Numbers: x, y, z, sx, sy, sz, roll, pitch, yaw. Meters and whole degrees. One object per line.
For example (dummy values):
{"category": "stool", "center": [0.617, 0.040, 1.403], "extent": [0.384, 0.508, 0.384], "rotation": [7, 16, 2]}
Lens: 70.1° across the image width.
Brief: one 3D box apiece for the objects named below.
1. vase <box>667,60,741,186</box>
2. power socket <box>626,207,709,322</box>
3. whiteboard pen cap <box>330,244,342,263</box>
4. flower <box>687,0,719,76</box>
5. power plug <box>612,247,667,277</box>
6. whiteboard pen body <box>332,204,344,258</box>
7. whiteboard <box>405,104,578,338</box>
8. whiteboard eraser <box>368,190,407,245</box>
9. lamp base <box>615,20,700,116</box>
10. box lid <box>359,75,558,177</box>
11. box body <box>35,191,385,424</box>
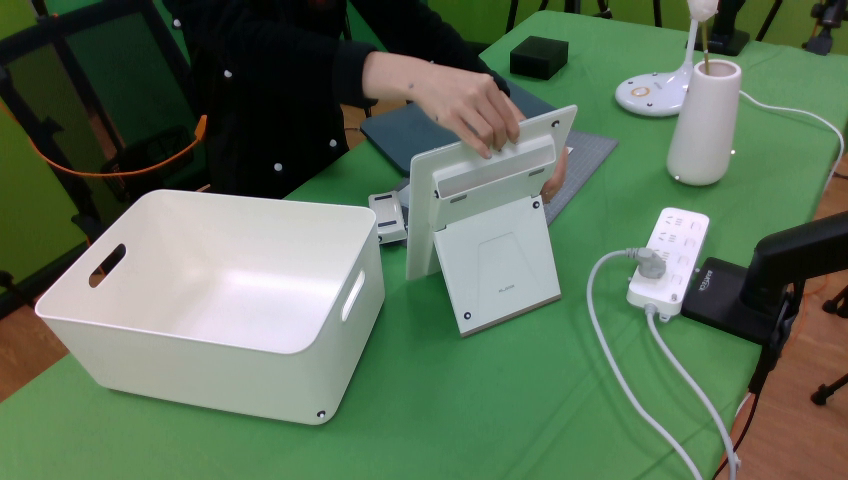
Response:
{"category": "vase", "center": [0.463, -0.189, 0.994], "extent": [0.098, 0.201, 0.097], "rotation": [-4, 40, 3]}
{"category": "power socket", "center": [0.360, 0.026, 0.886], "extent": [0.072, 0.033, 0.227], "rotation": [17, 46, 27]}
{"category": "whiteboard pen cap", "center": [-0.141, 0.021, 0.975], "extent": [0.018, 0.018, 0.033], "rotation": [-7, 39, 0]}
{"category": "flower", "center": [0.436, -0.242, 0.934], "extent": [0.038, 0.364, 0.043], "rotation": [-24, 49, 8]}
{"category": "power plug", "center": [0.306, 0.031, 0.852], "extent": [0.072, 0.053, 0.035], "rotation": [21, 48, 37]}
{"category": "whiteboard pen body", "center": [-0.146, -0.016, 1.020], "extent": [0.017, 0.017, 0.140], "rotation": [-7, 40, 0]}
{"category": "whiteboard", "center": [0.102, 0.003, 0.787], "extent": [0.218, 0.306, 0.143], "rotation": [-19, 62, -14]}
{"category": "whiteboard eraser", "center": [-0.061, -0.035, 1.006], "extent": [0.056, 0.042, 0.112], "rotation": [-9, 40, -4]}
{"category": "lamp base", "center": [0.484, -0.364, 1.211], "extent": [0.180, 0.181, 0.159], "rotation": [-15, 41, -14]}
{"category": "box lid", "center": [0.075, -0.249, 1.267], "extent": [0.373, 0.015, 0.261], "rotation": [-23, 42, -18]}
{"category": "box body", "center": [-0.254, 0.081, 0.807], "extent": [0.363, 0.161, 0.253], "rotation": [5, 42, 14]}
